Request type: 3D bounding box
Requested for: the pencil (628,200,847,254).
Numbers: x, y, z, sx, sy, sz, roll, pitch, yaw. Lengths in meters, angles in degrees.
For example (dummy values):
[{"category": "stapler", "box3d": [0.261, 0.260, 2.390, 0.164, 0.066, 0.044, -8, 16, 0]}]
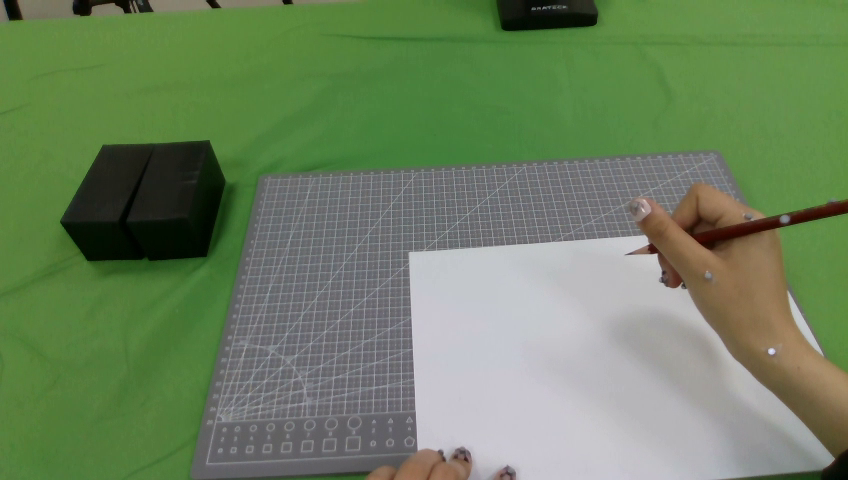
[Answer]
[{"category": "pencil", "box3d": [0.205, -0.010, 0.360, 0.193, 0.012, 0.012, -18, 28, 51]}]
